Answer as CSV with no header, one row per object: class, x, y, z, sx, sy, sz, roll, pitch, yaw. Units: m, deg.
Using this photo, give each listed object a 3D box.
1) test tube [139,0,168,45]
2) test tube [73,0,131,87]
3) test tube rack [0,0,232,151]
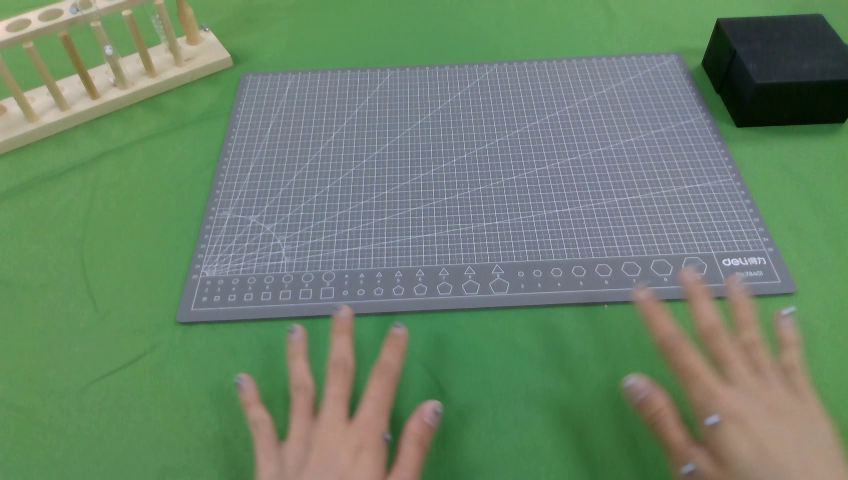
test tube,-0.274,-0.250,0.573,0.017,0.151,0.017,-3,54,4
test tube,-0.299,-0.202,0.543,0.017,0.152,0.017,-1,51,1
test tube rack,-0.321,-0.178,0.581,0.242,0.086,0.066,-28,55,-19
